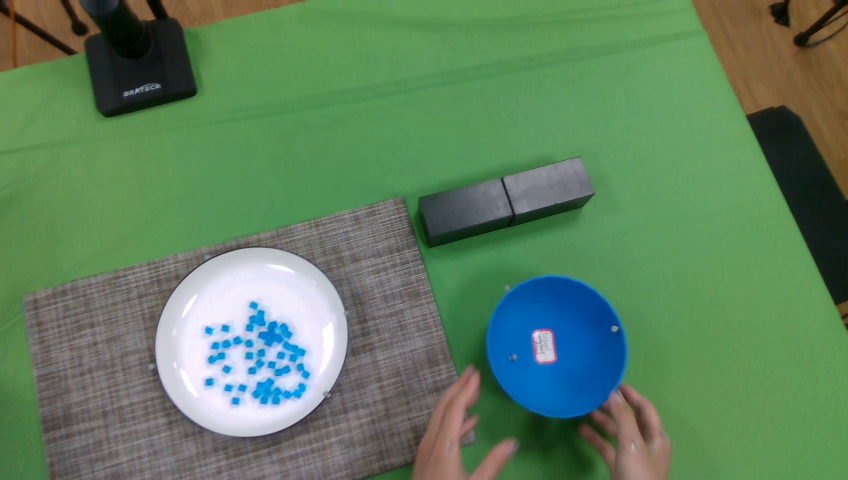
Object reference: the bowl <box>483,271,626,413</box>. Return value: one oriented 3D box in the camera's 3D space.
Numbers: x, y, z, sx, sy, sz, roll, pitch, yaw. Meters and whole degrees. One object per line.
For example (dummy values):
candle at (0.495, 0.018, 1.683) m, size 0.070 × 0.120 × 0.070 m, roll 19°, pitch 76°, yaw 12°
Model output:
bowl at (0.136, 0.115, 0.673) m, size 0.151 × 0.077 × 0.150 m, roll 1°, pitch 76°, yaw -2°

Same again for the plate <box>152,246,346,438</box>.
plate at (-0.189, 0.110, 0.672) m, size 0.208 × 0.039 × 0.206 m, roll 1°, pitch 75°, yaw -3°
